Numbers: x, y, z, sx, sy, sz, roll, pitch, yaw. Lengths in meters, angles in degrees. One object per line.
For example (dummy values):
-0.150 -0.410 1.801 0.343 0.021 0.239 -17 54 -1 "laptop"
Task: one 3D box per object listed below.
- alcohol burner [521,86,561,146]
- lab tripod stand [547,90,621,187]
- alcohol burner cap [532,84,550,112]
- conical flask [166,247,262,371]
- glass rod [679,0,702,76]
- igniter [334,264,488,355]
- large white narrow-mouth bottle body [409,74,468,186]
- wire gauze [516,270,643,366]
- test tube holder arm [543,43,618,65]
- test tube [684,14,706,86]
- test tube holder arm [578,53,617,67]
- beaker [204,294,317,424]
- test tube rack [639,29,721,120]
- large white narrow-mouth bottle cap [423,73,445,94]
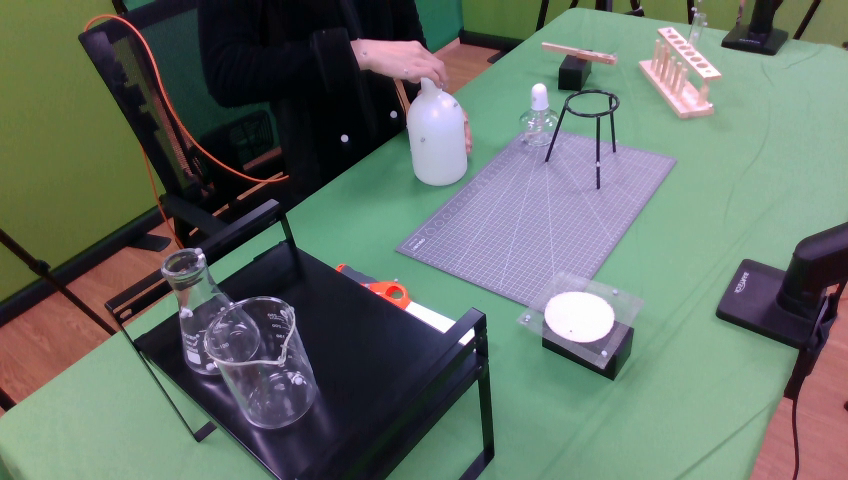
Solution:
0.223 -0.241 1.155 0.078 0.119 0.077 -5 43 5 "alcohol burner"
0.288 -0.184 1.062 0.148 0.132 0.147 -6 41 6 "lab tripod stand"
0.218 -0.268 1.133 0.034 0.048 0.033 -8 36 7 "alcohol burner cap"
-0.209 0.064 0.584 0.075 0.122 0.075 -5 40 4 "conical flask"
0.543 -0.417 1.233 0.008 0.200 0.008 1 40 0 "glass rod"
-0.030 0.095 0.871 0.274 0.025 0.057 22 59 31 "igniter"
0.024 -0.201 1.082 0.102 0.195 0.101 -4 40 4 "large white narrow-mouth bottle body"
0.200 0.093 0.777 0.124 0.011 0.122 23 49 32 "wire gauze"
0.345 -0.413 1.341 0.177 0.015 0.013 25 50 31 "test tube holder arm"
0.540 -0.378 1.215 0.017 0.151 0.017 -2 44 3 "test tube"
0.376 -0.393 1.314 0.087 0.015 0.010 26 50 32 "test tube holder arm"
-0.137 0.110 0.536 0.083 0.101 0.074 30 53 36 "beaker"
0.527 -0.351 1.262 0.067 0.085 0.241 -7 40 1 "test tube rack"
0.017 -0.266 1.026 0.038 0.024 0.037 -4 40 4 "large white narrow-mouth bottle cap"
